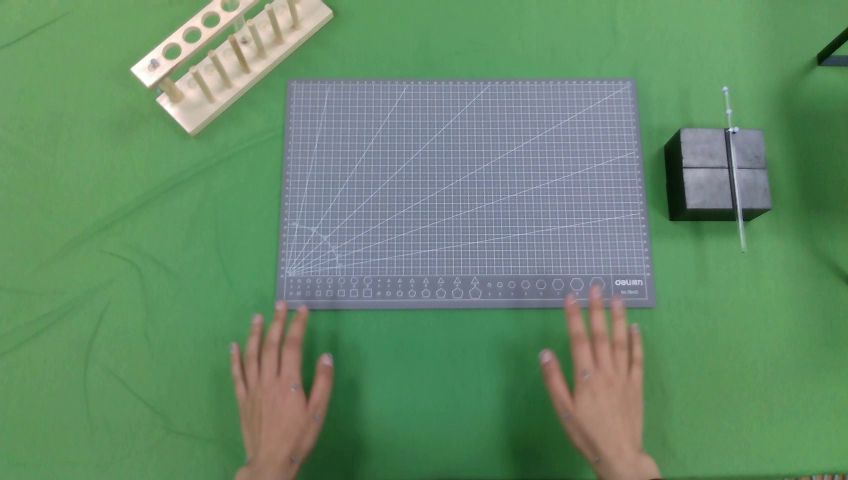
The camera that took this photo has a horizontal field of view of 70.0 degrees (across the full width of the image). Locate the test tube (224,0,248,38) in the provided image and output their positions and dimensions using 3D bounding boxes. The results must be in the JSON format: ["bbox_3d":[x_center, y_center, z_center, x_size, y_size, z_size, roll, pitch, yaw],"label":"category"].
[{"bbox_3d":[-0.227,-0.286,0.706,0.017,0.151,0.017,1,72,-4],"label":"test tube"}]

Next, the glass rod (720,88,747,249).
[{"bbox_3d":[0.361,-0.086,0.706,0.008,0.008,0.198,0,76,-1],"label":"glass rod"}]

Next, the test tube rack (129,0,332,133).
[{"bbox_3d":[-0.229,-0.249,0.747,0.066,0.085,0.242,44,79,10],"label":"test tube rack"}]
